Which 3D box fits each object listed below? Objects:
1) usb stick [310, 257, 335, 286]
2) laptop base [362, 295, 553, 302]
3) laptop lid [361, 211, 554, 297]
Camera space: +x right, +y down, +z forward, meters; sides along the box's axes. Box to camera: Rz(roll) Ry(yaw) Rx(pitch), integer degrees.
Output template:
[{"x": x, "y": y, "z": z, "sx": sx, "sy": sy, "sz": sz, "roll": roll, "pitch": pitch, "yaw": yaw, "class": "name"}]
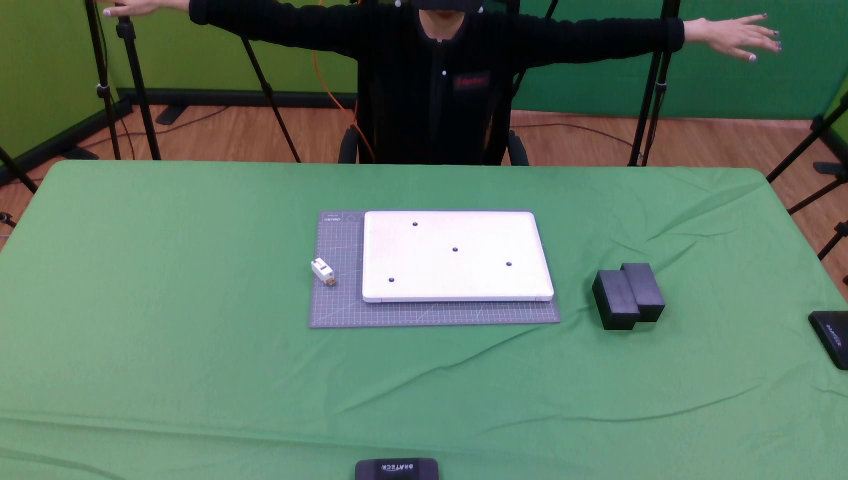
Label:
[{"x": -0.185, "y": 0.060, "z": 1.119, "sx": 0.021, "sy": 0.027, "sz": 0.059, "roll": -30, "pitch": 57, "yaw": -28, "class": "usb stick"}, {"x": 0.058, "y": 0.030, "z": 1.175, "sx": 0.355, "sy": 0.023, "sz": 0.234, "roll": 0, "pitch": 43, "yaw": -4, "class": "laptop base"}, {"x": 0.058, "y": 0.020, "z": 1.169, "sx": 0.357, "sy": 0.013, "sz": 0.240, "roll": 1, "pitch": 44, "yaw": -3, "class": "laptop lid"}]
